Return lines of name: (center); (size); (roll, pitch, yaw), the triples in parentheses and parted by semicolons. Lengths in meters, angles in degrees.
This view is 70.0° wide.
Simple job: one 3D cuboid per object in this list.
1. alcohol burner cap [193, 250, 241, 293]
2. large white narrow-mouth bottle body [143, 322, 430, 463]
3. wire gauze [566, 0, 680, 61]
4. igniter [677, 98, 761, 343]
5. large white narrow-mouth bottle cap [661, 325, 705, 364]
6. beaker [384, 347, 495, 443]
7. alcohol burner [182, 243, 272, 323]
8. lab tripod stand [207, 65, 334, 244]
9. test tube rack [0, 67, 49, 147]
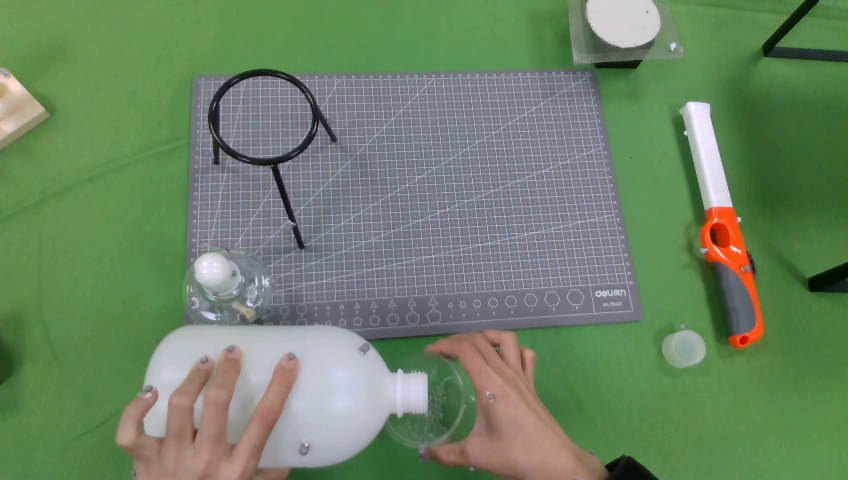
alcohol burner cap: (-0.171, 0.025, 0.497); (0.034, 0.048, 0.033); (1, 77, -5)
large white narrow-mouth bottle body: (-0.093, 0.112, 0.451); (0.195, 0.102, 0.101); (0, 71, 1)
wire gauze: (0.217, -0.254, 0.674); (0.122, 0.011, 0.124); (-1, 73, -6)
igniter: (0.315, -0.028, 0.651); (0.057, 0.025, 0.274); (1, 72, -17)
large white narrow-mouth bottle cap: (0.259, 0.105, 0.607); (0.038, 0.024, 0.037); (2, 71, -4)
beaker: (0.013, 0.135, 0.522); (0.083, 0.101, 0.073); (6, 75, 26)
alcohol burner: (-0.175, 0.035, 0.531); (0.078, 0.119, 0.077); (3, 70, -7)
lab tripod stand: (-0.138, -0.083, 0.563); (0.149, 0.132, 0.147); (2, 72, -7)
test tube rack: (-0.489, -0.087, 0.555); (0.066, 0.085, 0.242); (44, 73, 9)
